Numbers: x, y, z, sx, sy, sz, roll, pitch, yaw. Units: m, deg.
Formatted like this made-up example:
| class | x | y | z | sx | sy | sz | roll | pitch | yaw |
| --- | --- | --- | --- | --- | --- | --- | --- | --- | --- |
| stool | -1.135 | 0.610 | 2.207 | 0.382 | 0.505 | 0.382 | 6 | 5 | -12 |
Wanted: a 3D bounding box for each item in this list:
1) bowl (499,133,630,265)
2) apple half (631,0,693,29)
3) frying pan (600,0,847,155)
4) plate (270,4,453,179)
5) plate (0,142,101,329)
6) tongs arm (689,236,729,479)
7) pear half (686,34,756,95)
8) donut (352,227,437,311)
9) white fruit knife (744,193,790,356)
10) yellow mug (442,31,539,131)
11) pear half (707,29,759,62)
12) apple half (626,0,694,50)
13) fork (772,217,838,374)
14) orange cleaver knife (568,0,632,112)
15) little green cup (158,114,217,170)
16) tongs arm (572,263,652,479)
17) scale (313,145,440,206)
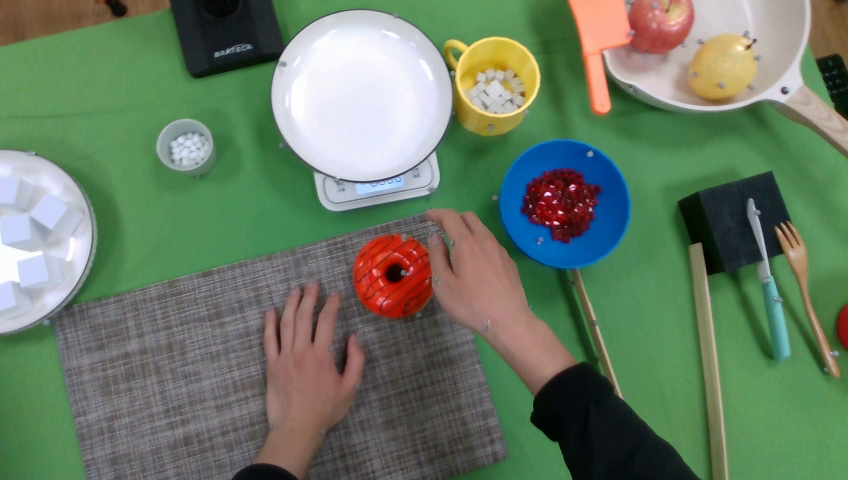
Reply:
| class | x | y | z | sx | sy | sz | roll | pitch | yaw |
| --- | --- | --- | --- | --- | --- | --- | --- | --- | --- |
| bowl | 0.155 | -0.041 | 0.713 | 0.151 | 0.077 | 0.151 | 1 | 82 | -5 |
| apple half | 0.301 | -0.303 | 0.762 | 0.081 | 0.081 | 0.032 | 25 | 83 | 0 |
| frying pan | 0.402 | -0.224 | 0.749 | 0.306 | 0.103 | 0.485 | -42 | 79 | -9 |
| plate | -0.070 | -0.169 | 0.703 | 0.209 | 0.038 | 0.208 | 1 | 81 | -5 |
| plate | -0.464 | -0.005 | 0.672 | 0.208 | 0.039 | 0.207 | 1 | 81 | -5 |
| tongs arm | 0.335 | 0.188 | 0.717 | 0.028 | 0.028 | 0.386 | 1 | 82 | -12 |
| pear half | 0.366 | -0.213 | 0.737 | 0.076 | 0.110 | 0.056 | 20 | 80 | 2 |
| donut | -0.035 | 0.033 | 0.697 | 0.099 | 0.048 | 0.098 | 0 | 83 | -3 |
| white fruit knife | 0.406 | 0.044 | 0.721 | 0.016 | 0.027 | 0.208 | -17 | 98 | -7 |
| yellow mug | 0.072 | -0.202 | 0.736 | 0.130 | 0.064 | 0.100 | 42 | 81 | 3 |
| pear half | 0.381 | -0.242 | 0.753 | 0.070 | 0.088 | 0.031 | 15 | 79 | 4 |
| apple half | 0.286 | -0.268 | 0.756 | 0.081 | 0.074 | 0.053 | 26 | 83 | -3 |
| fork | 0.463 | 0.069 | 0.730 | 0.028 | 0.018 | 0.208 | -25 | 100 | -10 |
| orange cleaver knife | 0.206 | -0.256 | 0.719 | 0.077 | 0.012 | 0.210 | -11 | 83 | -4 |
| little green cup | -0.272 | -0.111 | 0.706 | 0.061 | 0.039 | 0.061 | 1 | 81 | -4 |
| tongs arm | 0.251 | 0.201 | 0.705 | 0.051 | 0.026 | 0.383 | -14 | 84 | -11 |
| scale | -0.069 | -0.149 | 0.733 | 0.149 | 0.031 | 0.200 | -11 | 83 | -6 |
